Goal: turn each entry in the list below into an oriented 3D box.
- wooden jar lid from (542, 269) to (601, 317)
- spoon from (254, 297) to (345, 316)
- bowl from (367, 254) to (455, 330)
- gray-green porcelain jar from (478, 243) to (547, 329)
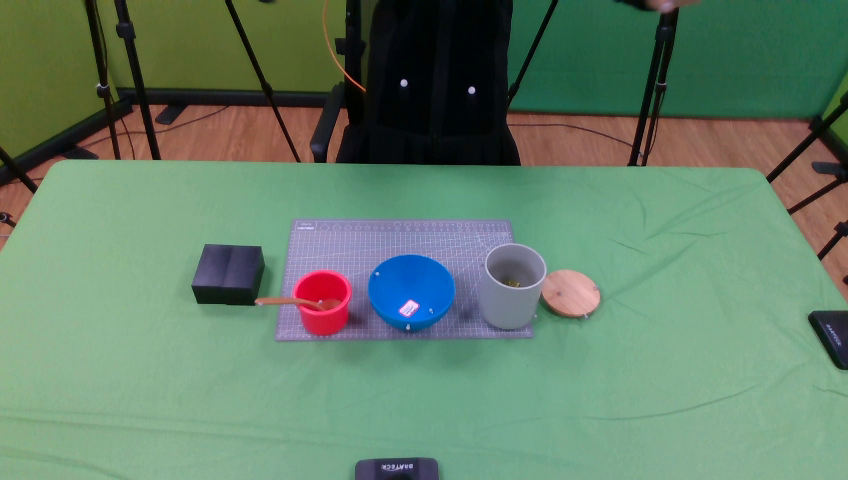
[{"bbox_3d":[0.272,0.100,1.121,0.108,0.021,0.107,2,46,-2],"label":"wooden jar lid"},{"bbox_3d":[-0.200,0.104,0.995,0.041,0.021,0.195,46,15,32],"label":"spoon"},{"bbox_3d":[-0.023,0.104,1.053,0.151,0.077,0.150,2,46,-2],"label":"bowl"},{"bbox_3d":[0.150,0.085,1.049,0.106,0.127,0.105,2,46,-2],"label":"gray-green porcelain jar"}]
